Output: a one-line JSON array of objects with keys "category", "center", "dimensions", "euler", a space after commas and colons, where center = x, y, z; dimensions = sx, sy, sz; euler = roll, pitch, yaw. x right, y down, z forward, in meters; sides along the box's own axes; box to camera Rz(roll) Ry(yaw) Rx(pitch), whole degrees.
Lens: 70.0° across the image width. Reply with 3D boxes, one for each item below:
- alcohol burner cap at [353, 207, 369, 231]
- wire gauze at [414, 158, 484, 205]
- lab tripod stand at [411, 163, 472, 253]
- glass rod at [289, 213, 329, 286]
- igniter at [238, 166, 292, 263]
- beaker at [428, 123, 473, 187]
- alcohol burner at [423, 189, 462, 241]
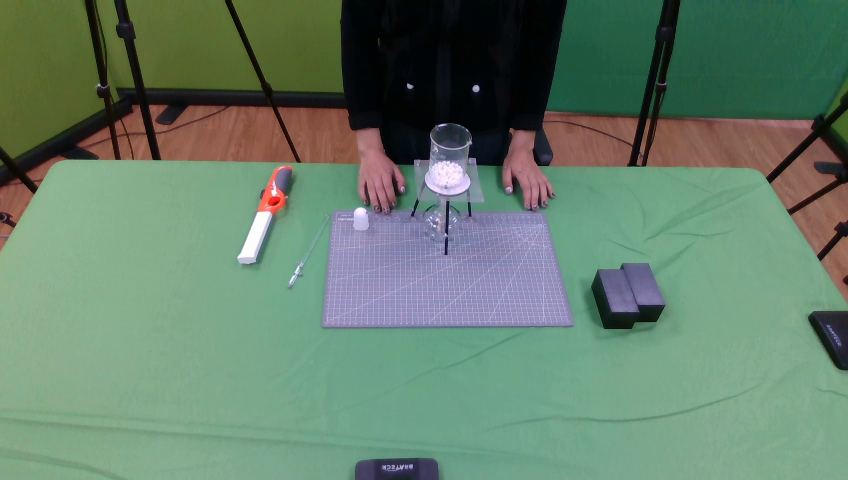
[{"category": "alcohol burner cap", "center": [-0.127, -0.046, 1.215], "dimensions": [0.034, 0.048, 0.033], "euler": [3, 48, -3]}, {"category": "wire gauze", "center": [0.045, -0.113, 1.137], "dimensions": [0.125, 0.011, 0.120], "euler": [2, 48, -6]}, {"category": "lab tripod stand", "center": [0.042, -0.069, 1.186], "dimensions": [0.148, 0.132, 0.147], "euler": [3, 47, -3]}, {"category": "glass rod", "center": [-0.221, 0.014, 1.179], "dimensions": [0.008, 0.008, 0.199], "euler": [12, 47, 9]}, {"category": "igniter", "center": [-0.319, -0.060, 1.229], "dimensions": [0.057, 0.025, 0.275], "euler": [-1, 45, 10]}, {"category": "beaker", "center": [0.044, -0.154, 1.109], "dimensions": [0.074, 0.101, 0.083], "euler": [-25, 54, -25]}, {"category": "alcohol burner", "center": [0.036, -0.055, 1.186], "dimensions": [0.078, 0.120, 0.077], "euler": [1, 48, -1]}]
